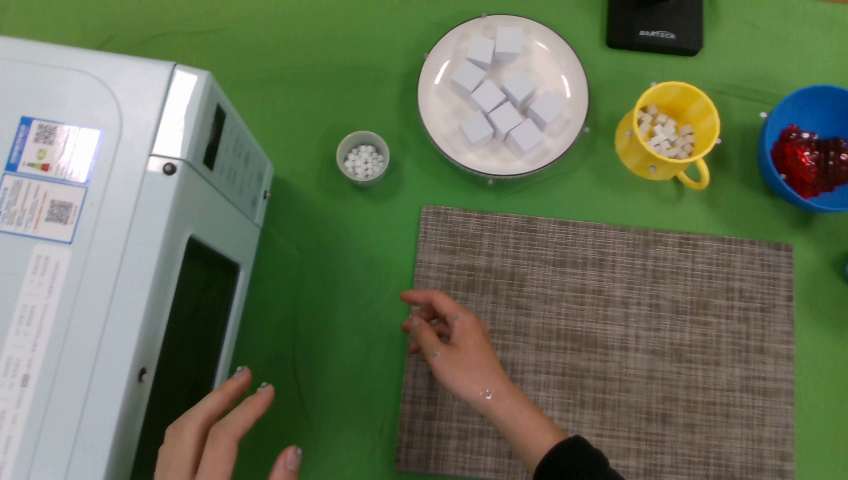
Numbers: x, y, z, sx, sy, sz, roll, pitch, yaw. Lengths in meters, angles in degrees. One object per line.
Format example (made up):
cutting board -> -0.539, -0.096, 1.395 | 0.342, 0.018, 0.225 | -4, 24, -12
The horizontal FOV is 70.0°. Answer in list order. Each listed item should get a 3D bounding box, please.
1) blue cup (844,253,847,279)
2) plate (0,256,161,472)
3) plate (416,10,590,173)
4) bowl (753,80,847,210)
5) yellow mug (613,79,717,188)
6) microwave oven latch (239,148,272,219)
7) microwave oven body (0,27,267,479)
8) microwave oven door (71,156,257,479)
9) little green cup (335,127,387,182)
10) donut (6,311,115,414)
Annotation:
blue cup -> 0.534, 0.024, 0.681 | 0.093, 0.100, 0.092 | 0, 77, -2
plate -> -0.365, 0.121, 0.607 | 0.209, 0.038, 0.208 | 0, 81, -2
plate -> 0.095, -0.177, 0.738 | 0.208, 0.039, 0.206 | 0, 79, -1
bowl -> 0.452, -0.101, 0.714 | 0.151, 0.077, 0.151 | 0, 80, -1
yellow mug -> 0.293, -0.119, 0.719 | 0.100, 0.064, 0.130 | -31, 82, -6
microwave oven latch -> -0.196, -0.066, 0.690 | 0.030, 0.029, 0.079 | 13, 80, 0
microwave oven body -> -0.368, 0.063, 0.563 | 0.326, 0.261, 0.440 | 9, 80, 0
microwave oven door -> -0.231, 0.127, 0.550 | 0.039, 0.244, 0.354 | 9, 79, 0
little green cup -> -0.073, -0.098, 0.717 | 0.061, 0.039, 0.061 | 0, 81, -1
donut -> -0.354, 0.119, 0.593 | 0.099, 0.048, 0.098 | 1, 82, -4
